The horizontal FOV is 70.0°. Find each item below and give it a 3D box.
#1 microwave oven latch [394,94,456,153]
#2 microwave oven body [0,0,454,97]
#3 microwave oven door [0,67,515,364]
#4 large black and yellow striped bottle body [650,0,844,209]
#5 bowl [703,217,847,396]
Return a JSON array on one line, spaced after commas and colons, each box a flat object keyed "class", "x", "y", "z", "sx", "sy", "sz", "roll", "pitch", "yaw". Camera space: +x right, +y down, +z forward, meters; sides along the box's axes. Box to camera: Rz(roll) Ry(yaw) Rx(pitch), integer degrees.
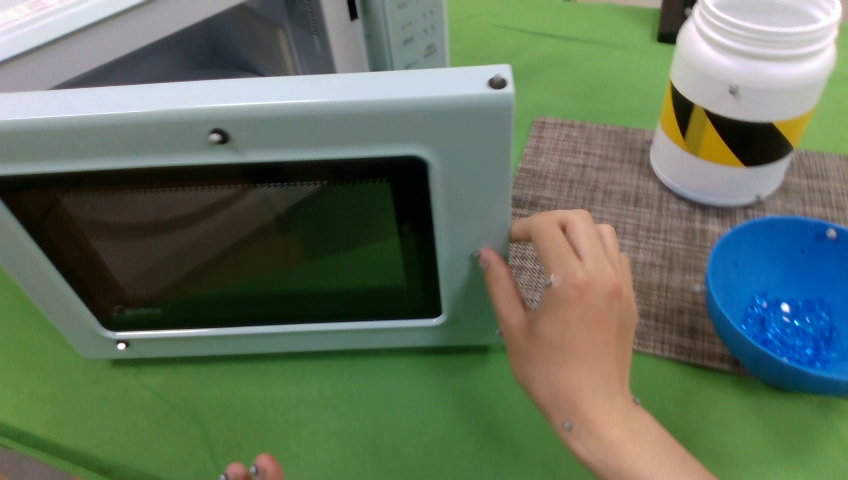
[{"class": "microwave oven latch", "x": 0.002, "y": -0.130, "z": 0.676, "sx": 0.079, "sy": 0.030, "sz": 0.030, "roll": -36, "pitch": 54, "yaw": -25}, {"class": "microwave oven body", "x": -0.235, "y": -0.171, "z": 0.603, "sx": 0.441, "sy": 0.263, "sz": 0.323, "roll": -38, "pitch": 55, "yaw": -26}, {"class": "microwave oven door", "x": -0.117, "y": 0.002, "z": 0.422, "sx": 0.356, "sy": 0.246, "sz": 0.039, "roll": -3, "pitch": 46, "yaw": 3}, {"class": "large black and yellow striped bottle body", "x": 0.298, "y": -0.135, "z": 0.572, "sx": 0.131, "sy": 0.186, "sz": 0.129, "roll": -2, "pitch": 47, "yaw": 3}, {"class": "bowl", "x": 0.284, "y": 0.062, "z": 0.462, "sx": 0.151, "sy": 0.077, "sz": 0.150, "roll": -3, "pitch": 47, "yaw": 3}]
